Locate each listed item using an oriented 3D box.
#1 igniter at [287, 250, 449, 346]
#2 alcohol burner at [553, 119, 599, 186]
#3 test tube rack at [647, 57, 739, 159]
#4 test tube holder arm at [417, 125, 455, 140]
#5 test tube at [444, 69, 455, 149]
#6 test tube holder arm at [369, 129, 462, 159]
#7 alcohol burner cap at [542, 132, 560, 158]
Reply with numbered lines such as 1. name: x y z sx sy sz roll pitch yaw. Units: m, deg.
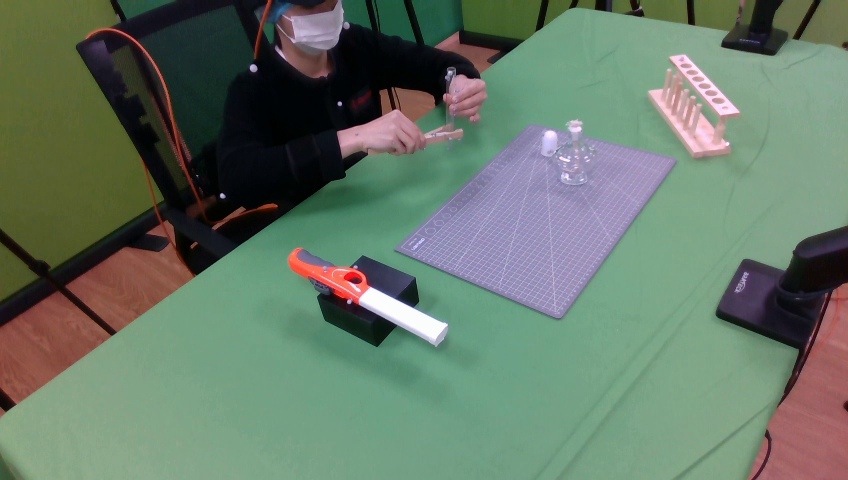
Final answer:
1. igniter: -0.087 0.073 0.825 0.274 0.025 0.057 23 48 28
2. alcohol burner: 0.261 -0.153 1.042 0.078 0.119 0.077 -6 40 6
3. test tube rack: 0.504 -0.257 1.153 0.067 0.085 0.241 -7 40 1
4. test tube holder arm: 0.021 -0.186 1.079 0.010 0.015 0.088 27 43 37
5. test tube: 0.045 -0.226 1.057 0.017 0.151 0.017 0 40 0
6. test tube holder arm: -0.012 -0.168 1.056 0.179 0.015 0.013 -18 35 -22
7. alcohol burner cap: 0.238 -0.180 1.134 0.034 0.048 0.033 -5 40 5
